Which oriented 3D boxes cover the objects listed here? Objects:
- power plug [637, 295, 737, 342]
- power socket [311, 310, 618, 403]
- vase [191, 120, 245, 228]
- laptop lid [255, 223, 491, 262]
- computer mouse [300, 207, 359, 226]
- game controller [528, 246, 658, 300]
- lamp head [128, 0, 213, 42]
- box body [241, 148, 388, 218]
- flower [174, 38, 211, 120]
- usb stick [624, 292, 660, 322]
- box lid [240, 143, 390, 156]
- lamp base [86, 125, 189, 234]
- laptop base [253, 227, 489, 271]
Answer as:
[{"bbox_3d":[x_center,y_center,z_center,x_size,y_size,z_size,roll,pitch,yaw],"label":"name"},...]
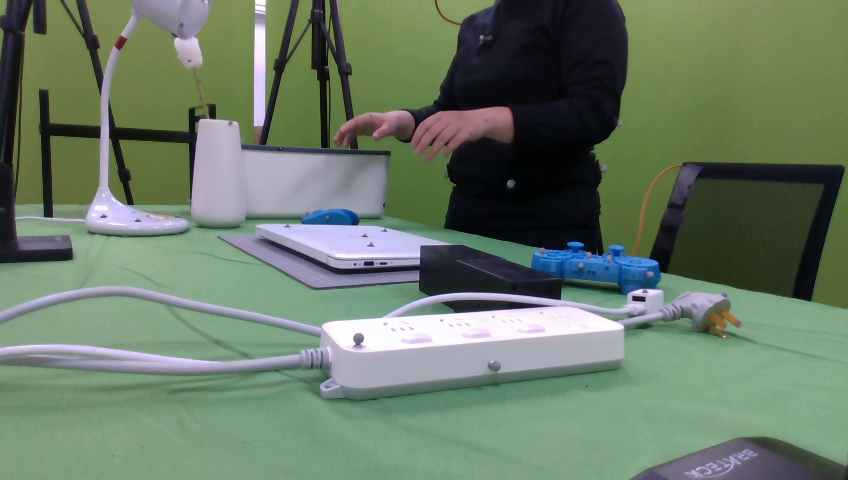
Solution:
[{"bbox_3d":[0.235,0.078,0.536,0.072,0.035,0.052,-35,41,-3],"label":"power plug"},{"bbox_3d":[0.034,0.074,0.415,0.228,0.032,0.072,-1,7,-24],"label":"power socket"},{"bbox_3d":[-0.389,-0.124,1.142,0.098,0.200,0.098,3,9,0],"label":"vase"},{"bbox_3d":[-0.093,0.000,0.911,0.243,0.013,0.355,1,7,-30],"label":"laptop lid"},{"bbox_3d":[-0.194,-0.046,1.241,0.117,0.041,0.063,0,10,11],"label":"computer mouse"},{"bbox_3d":[0.202,0.036,0.732,0.155,0.051,0.097,5,10,20],"label":"game controller"},{"bbox_3d":[-0.423,-0.394,0.980,0.123,0.112,0.112,20,7,-3],"label":"lamp head"},{"bbox_3d":[-0.297,-0.143,1.474,0.366,0.160,0.253,-1,9,-30],"label":"box body"},{"bbox_3d":[-0.401,-0.207,1.141,0.038,0.361,0.044,-14,3,44],"label":"flower"},{"bbox_3d":[0.211,0.064,0.580,0.021,0.027,0.059,-3,-4,37],"label":"usb stick"},{"bbox_3d":[-0.295,-0.217,1.463,0.373,0.015,0.262,-1,8,-29],"label":"box lid"},{"bbox_3d":[-0.497,-0.105,1.027,0.179,0.180,0.160,1,7,2],"label":"lamp base"},{"bbox_3d":[-0.096,0.012,0.911,0.237,0.023,0.352,2,6,-32],"label":"laptop base"}]
